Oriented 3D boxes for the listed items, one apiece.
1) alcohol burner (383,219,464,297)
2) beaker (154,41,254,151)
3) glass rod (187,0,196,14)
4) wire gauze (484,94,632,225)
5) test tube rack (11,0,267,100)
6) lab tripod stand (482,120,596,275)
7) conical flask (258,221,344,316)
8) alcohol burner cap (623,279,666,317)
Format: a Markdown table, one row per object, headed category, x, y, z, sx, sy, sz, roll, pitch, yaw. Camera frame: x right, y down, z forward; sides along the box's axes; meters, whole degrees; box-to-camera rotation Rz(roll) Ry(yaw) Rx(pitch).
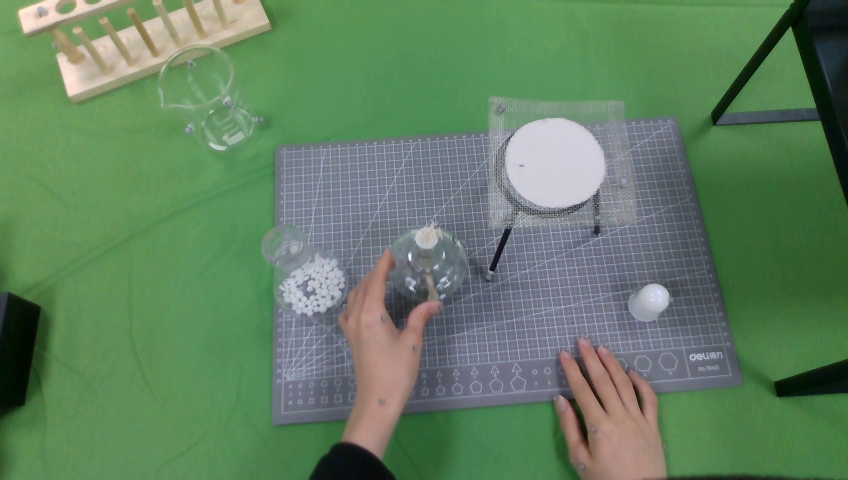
| category | x | y | z | sx | sy | sz | roll | pitch | yaw |
| --- | --- | --- | --- | --- | --- | --- | --- | --- | --- |
| alcohol burner | 0.000 | 0.011 | 0.569 | 0.078 | 0.120 | 0.077 | 0 | 67 | 0 |
| beaker | -0.228 | -0.144 | 0.638 | 0.073 | 0.101 | 0.084 | 41 | 76 | 15 |
| glass rod | -0.269 | -0.311 | 0.636 | 0.008 | 0.201 | 0.008 | 2 | 68 | -3 |
| wire gauze | 0.112 | -0.071 | 0.515 | 0.121 | 0.011 | 0.124 | 1 | 70 | -1 |
| test tube rack | -0.313 | -0.251 | 0.685 | 0.242 | 0.086 | 0.066 | -24 | 71 | -8 |
| lab tripod stand | 0.106 | -0.043 | 0.577 | 0.148 | 0.132 | 0.147 | 0 | 68 | -1 |
| conical flask | -0.119 | 0.022 | 0.562 | 0.075 | 0.122 | 0.075 | 0 | 69 | 1 |
| alcohol burner cap | 0.217 | 0.054 | 0.590 | 0.034 | 0.048 | 0.033 | 0 | 71 | 1 |
